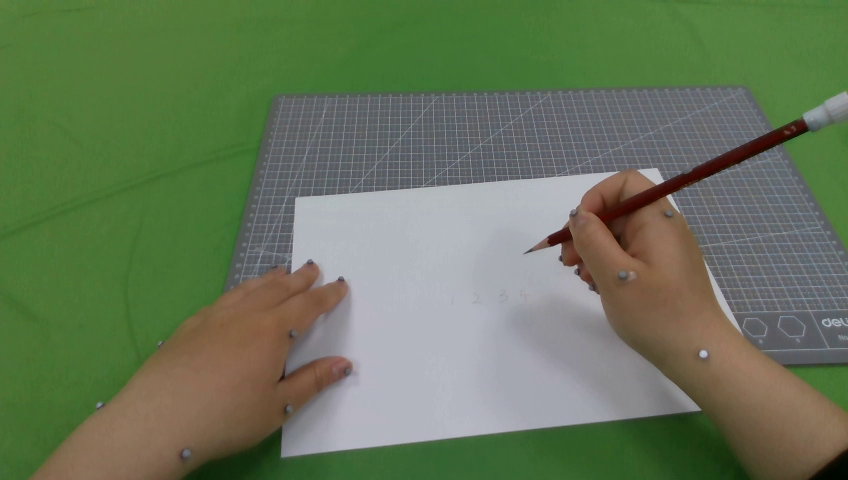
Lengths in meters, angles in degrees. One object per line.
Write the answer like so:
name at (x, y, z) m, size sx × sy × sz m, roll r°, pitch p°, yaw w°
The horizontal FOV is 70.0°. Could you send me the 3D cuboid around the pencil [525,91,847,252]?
pencil at (0.133, -0.030, 0.327) m, size 0.194 × 0.012 × 0.012 m, roll -28°, pitch 36°, yaw 36°
